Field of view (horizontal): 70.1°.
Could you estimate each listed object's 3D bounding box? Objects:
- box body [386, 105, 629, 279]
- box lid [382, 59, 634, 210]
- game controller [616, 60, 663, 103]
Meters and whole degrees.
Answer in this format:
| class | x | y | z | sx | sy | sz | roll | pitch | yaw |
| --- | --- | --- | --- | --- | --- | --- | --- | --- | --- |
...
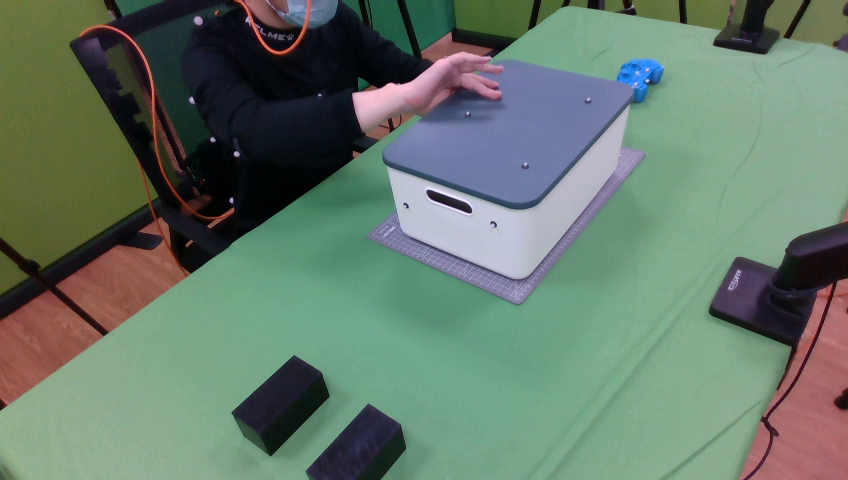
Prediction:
| class | x | y | z | sx | sy | sz | roll | pitch | yaw |
| --- | --- | --- | --- | --- | --- | --- | --- | --- | --- |
| box body | 0.143 | -0.126 | 0.981 | 0.252 | 0.161 | 0.365 | 22 | 49 | 29 |
| box lid | 0.139 | -0.182 | 0.933 | 0.261 | 0.015 | 0.372 | 23 | 49 | 28 |
| game controller | 0.442 | -0.344 | 1.288 | 0.096 | 0.052 | 0.155 | 25 | 50 | 27 |
